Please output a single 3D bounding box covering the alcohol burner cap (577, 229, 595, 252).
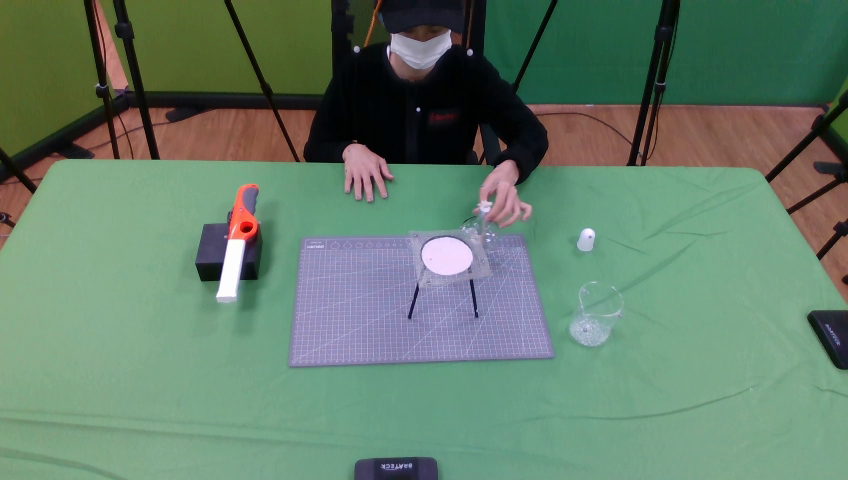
[{"bbox_3d":[0.326,-0.002,1.213,0.034,0.048,0.033,1,47,-1],"label":"alcohol burner cap"}]

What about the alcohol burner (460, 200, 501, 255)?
[{"bbox_3d":[0.109,-0.028,1.147,0.078,0.119,0.077,2,46,-2],"label":"alcohol burner"}]

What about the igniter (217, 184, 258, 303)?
[{"bbox_3d":[-0.339,-0.003,1.106,0.057,0.025,0.274,1,49,-6],"label":"igniter"}]

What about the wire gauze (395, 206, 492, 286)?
[{"bbox_3d":[0.031,0.010,0.993,0.125,0.011,0.120,-25,57,-17],"label":"wire gauze"}]

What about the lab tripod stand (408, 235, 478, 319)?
[{"bbox_3d":[0.032,0.065,1.057,0.148,0.132,0.147,1,45,-1],"label":"lab tripod stand"}]

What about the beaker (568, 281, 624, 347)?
[{"bbox_3d":[0.290,0.132,1.041,0.084,0.101,0.073,-34,57,-31],"label":"beaker"}]
